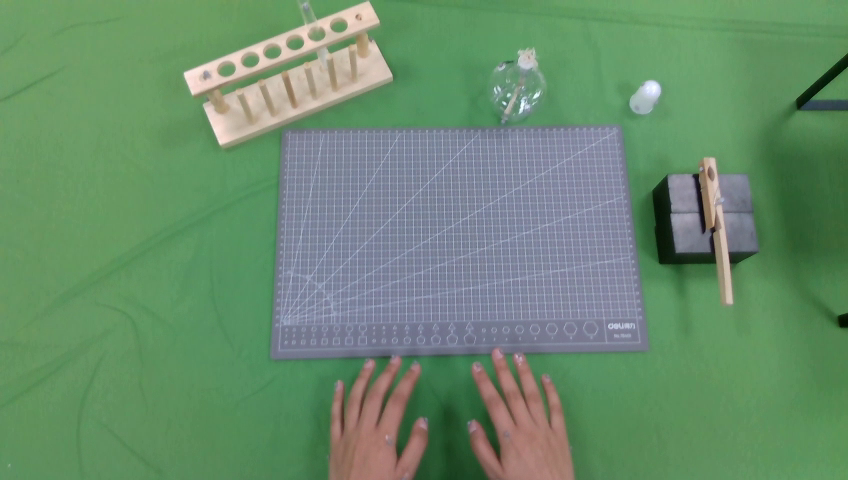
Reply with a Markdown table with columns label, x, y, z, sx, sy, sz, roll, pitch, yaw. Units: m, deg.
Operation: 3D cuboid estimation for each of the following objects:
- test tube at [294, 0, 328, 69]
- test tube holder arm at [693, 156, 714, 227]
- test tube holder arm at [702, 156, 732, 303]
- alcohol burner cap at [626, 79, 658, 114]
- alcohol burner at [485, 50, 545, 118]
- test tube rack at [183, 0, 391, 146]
| label | x | y | z | sx | sy | sz | roll | pitch | yaw |
| --- | --- | --- | --- | --- | --- | --- | --- | --- | --- |
| test tube | -0.137 | -0.262 | 0.734 | 0.017 | 0.151 | 0.017 | -3 | 63 | 7 |
| test tube holder arm | 0.336 | -0.058 | 0.727 | 0.010 | 0.015 | 0.087 | -2 | 75 | -3 |
| test tube holder arm | 0.344 | -0.015 | 0.716 | 0.013 | 0.015 | 0.177 | -2 | 75 | -3 |
| alcohol burner cap | 0.291 | -0.193 | 0.804 | 0.034 | 0.048 | 0.033 | 0 | 73 | 0 |
| alcohol burner | 0.117 | -0.204 | 0.765 | 0.078 | 0.119 | 0.077 | 1 | 75 | -2 |
| test tube rack | -0.167 | -0.211 | 0.772 | 0.242 | 0.085 | 0.066 | -24 | 75 | -8 |
